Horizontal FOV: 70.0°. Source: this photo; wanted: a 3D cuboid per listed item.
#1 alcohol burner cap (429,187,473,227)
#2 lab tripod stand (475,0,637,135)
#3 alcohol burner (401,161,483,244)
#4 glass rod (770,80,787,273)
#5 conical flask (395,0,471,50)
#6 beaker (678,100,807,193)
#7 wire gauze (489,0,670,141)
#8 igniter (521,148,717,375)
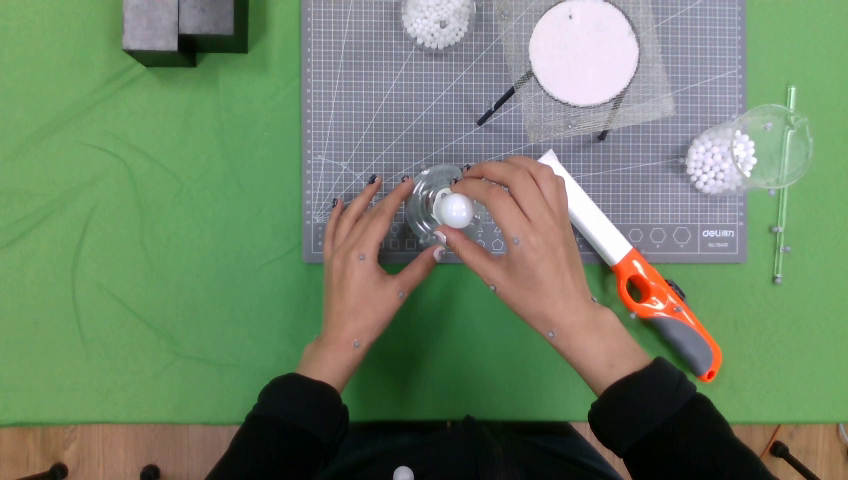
[{"bbox_3d":[0.023,-0.026,0.480,0.034,0.048,0.034,0,93,-8],"label":"alcohol burner cap"},{"bbox_3d":[0.120,-0.149,0.546,0.148,0.131,0.148,0,91,-2],"label":"lab tripod stand"},{"bbox_3d":[0.017,-0.036,0.551,0.078,0.119,0.078,0,88,0],"label":"alcohol burner"},{"bbox_3d":[0.365,-0.066,0.622,0.008,0.008,0.199,3,89,-3],"label":"glass rod"},{"bbox_3d":[0.010,-0.227,0.547,0.075,0.122,0.075,0,89,-2],"label":"conical flask"},{"bbox_3d":[0.295,-0.085,0.571,0.084,0.100,0.074,-37,91,-3],"label":"beaker"},{"bbox_3d":[0.124,-0.148,0.479,0.125,0.011,0.121,-13,91,-2],"label":"wire gauze"},{"bbox_3d":[0.198,0.022,0.604,0.057,0.025,0.277,-42,92,-19],"label":"igniter"}]
